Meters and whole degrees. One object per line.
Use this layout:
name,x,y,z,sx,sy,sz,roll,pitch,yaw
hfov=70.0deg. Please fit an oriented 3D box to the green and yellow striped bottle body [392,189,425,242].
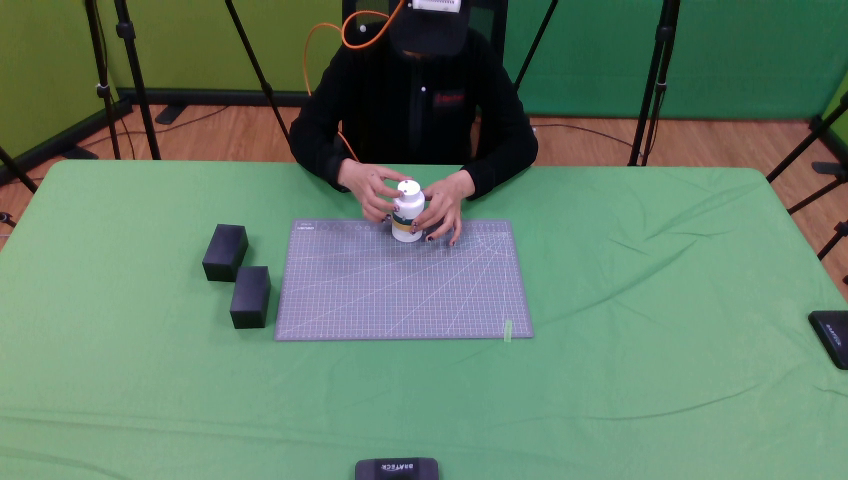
green and yellow striped bottle body,-0.031,-0.058,1.178,0.063,0.120,0.063,2,46,-2

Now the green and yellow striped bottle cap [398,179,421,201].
green and yellow striped bottle cap,-0.027,-0.094,1.140,0.045,0.020,0.045,1,47,-1
